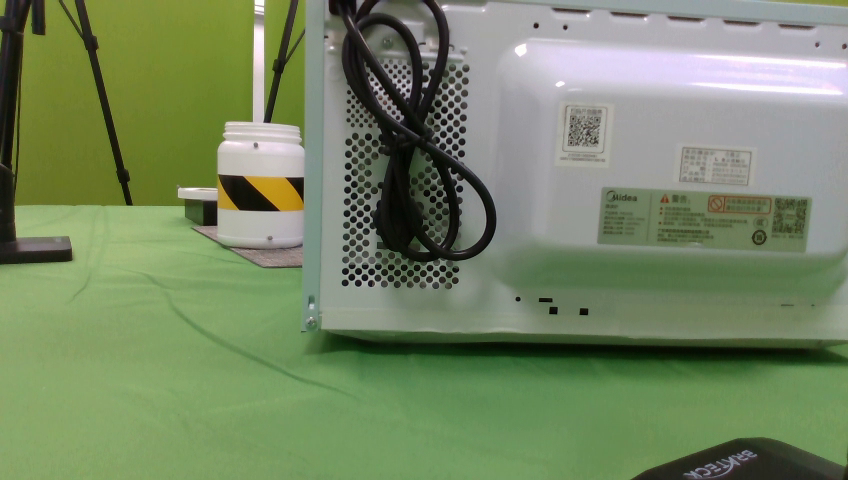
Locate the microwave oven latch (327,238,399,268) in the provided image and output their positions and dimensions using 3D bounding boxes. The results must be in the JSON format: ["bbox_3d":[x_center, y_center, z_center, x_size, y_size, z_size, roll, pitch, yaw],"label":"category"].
[{"bbox_3d":[-0.069,0.015,0.694,0.079,0.029,0.030,3,7,-3],"label":"microwave oven latch"}]

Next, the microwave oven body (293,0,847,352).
[{"bbox_3d":[0.122,-0.055,0.550,0.442,0.260,0.325,3,7,-5],"label":"microwave oven body"}]

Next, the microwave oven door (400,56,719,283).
[{"bbox_3d":[0.155,-0.077,0.698,0.356,0.243,0.039,2,8,-5],"label":"microwave oven door"}]

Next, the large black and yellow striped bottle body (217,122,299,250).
[{"bbox_3d":[-0.250,-0.084,0.931,0.131,0.184,0.130,2,7,0],"label":"large black and yellow striped bottle body"}]

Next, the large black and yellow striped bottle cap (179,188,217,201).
[{"bbox_3d":[-0.434,-0.093,1.226,0.115,0.019,0.115,3,9,0],"label":"large black and yellow striped bottle cap"}]
